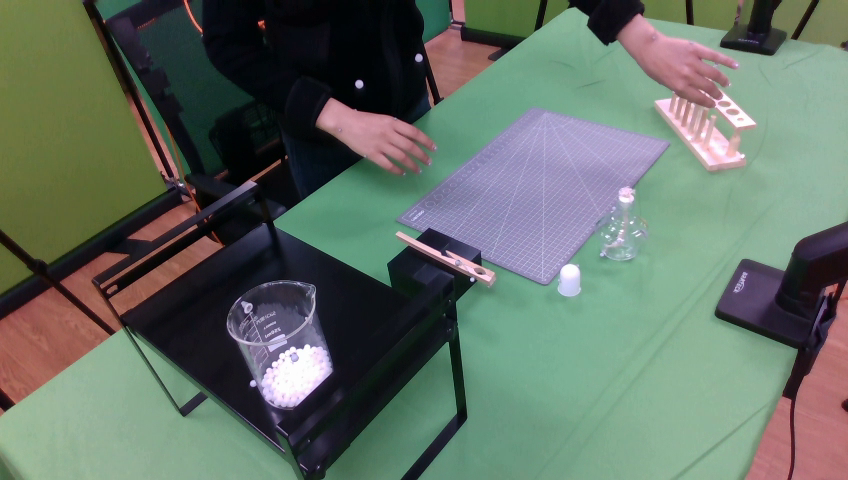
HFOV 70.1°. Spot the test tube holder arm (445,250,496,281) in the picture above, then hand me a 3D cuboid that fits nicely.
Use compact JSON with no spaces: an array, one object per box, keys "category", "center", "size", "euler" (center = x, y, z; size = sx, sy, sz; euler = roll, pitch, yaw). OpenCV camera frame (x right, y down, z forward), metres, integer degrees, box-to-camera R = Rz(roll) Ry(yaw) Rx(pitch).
[{"category":"test tube holder arm","center":[0.063,0.036,0.851],"size":[0.087,0.015,0.010],"euler":[23,57,32]}]

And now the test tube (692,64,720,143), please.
[{"category":"test tube","center":[0.492,-0.236,1.056],"size":[0.017,0.151,0.017],"euler":[-3,42,3]}]

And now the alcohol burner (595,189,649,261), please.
[{"category":"alcohol burner","center":[0.294,-0.028,0.894],"size":[0.078,0.119,0.077],"euler":[-5,43,5]}]

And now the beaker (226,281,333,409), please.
[{"category":"beaker","center":[-0.123,0.096,0.546],"size":[0.073,0.101,0.084],"euler":[27,51,33]}]

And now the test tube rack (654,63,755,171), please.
[{"category":"test tube rack","center":[0.510,-0.233,1.120],"size":[0.067,0.085,0.241],"euler":[-8,41,-1]}]

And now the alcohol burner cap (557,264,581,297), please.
[{"category":"alcohol burner cap","center":[0.208,0.055,0.866],"size":[0.034,0.048,0.033],"euler":[-4,42,4]}]

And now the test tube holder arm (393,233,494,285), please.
[{"category":"test tube holder arm","center":[0.024,0.025,0.871],"size":[0.177,0.015,0.013],"euler":[22,57,31]}]
